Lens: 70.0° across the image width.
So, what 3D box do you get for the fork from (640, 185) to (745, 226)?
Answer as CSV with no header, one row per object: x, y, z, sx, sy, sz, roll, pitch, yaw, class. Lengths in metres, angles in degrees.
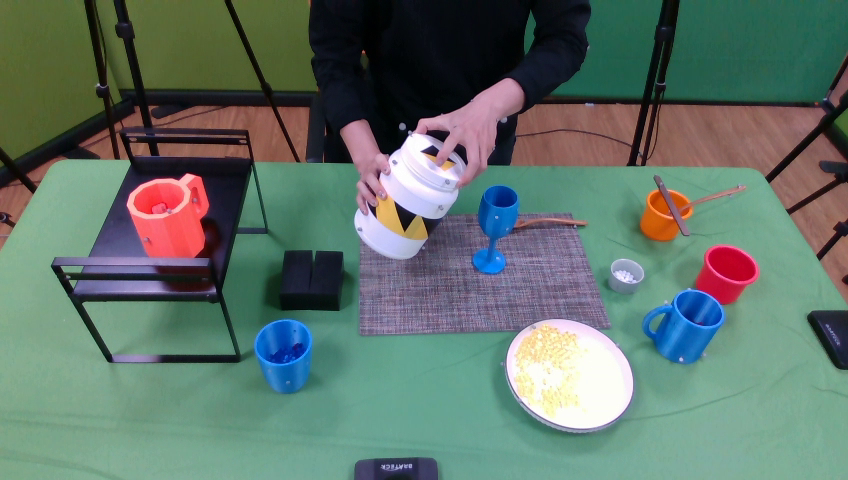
0.534,-0.069,1.215,0.207,0.019,0.028,-26,27,33,fork

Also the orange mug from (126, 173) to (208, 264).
-0.371,-0.040,0.902,0.083,0.101,0.126,18,52,13,orange mug

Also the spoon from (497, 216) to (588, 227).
0.245,-0.039,1.247,0.194,0.022,0.041,-1,25,-6,spoon

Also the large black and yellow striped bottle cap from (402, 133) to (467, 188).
0.018,-0.129,0.974,0.115,0.019,0.114,24,35,-18,large black and yellow striped bottle cap

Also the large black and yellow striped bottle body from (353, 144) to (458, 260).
-0.026,-0.071,1.018,0.131,0.184,0.130,25,34,-18,large black and yellow striped bottle body

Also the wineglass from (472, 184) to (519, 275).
0.129,-0.018,1.113,0.074,0.173,0.073,2,46,-2,wineglass

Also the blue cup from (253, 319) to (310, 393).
-0.217,0.187,0.943,0.093,0.101,0.092,4,45,-3,blue cup

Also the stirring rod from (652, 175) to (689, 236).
0.491,-0.072,1.211,0.014,0.006,0.175,0,46,-6,stirring rod

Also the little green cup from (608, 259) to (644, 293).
0.379,0.070,1.147,0.061,0.039,0.061,3,46,-3,little green cup

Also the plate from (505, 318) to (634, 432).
0.235,0.221,0.991,0.209,0.038,0.208,2,45,-2,plate

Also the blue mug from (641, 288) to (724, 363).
0.432,0.144,1.033,0.116,0.106,0.082,8,46,5,blue mug
